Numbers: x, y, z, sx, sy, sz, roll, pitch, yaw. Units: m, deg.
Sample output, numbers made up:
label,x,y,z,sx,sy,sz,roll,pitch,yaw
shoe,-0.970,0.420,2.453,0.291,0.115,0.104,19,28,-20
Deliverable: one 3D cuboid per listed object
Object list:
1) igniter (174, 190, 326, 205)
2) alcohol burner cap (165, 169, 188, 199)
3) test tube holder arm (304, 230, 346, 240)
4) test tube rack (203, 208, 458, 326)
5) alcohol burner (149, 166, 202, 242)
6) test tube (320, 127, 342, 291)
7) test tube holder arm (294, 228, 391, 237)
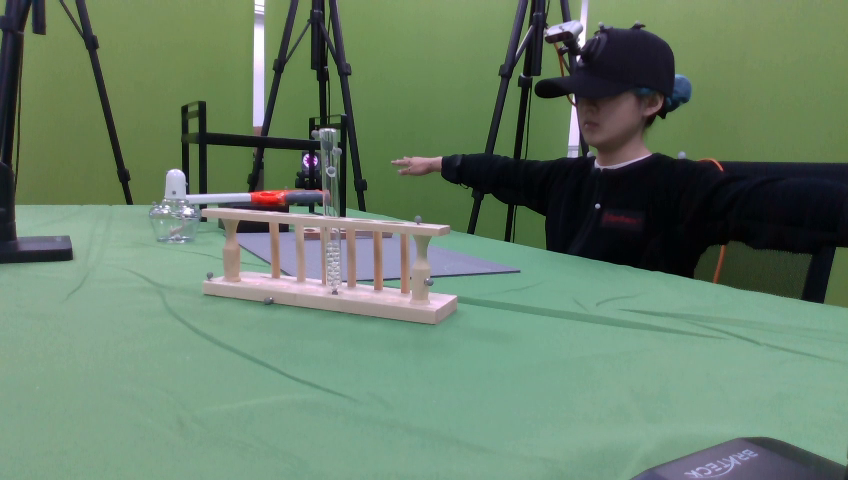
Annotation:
label,x,y,z,sx,sy,sz,roll,pitch,yaw
igniter,-0.317,-0.079,1.132,0.278,0.025,0.057,-4,12,-32
alcohol burner cap,-0.386,-0.087,0.943,0.034,0.048,0.034,3,7,0
test tube holder arm,-0.175,-0.009,1.027,0.088,0.015,0.010,0,43,-31
test tube rack,-0.090,0.019,0.579,0.241,0.085,0.067,5,7,19
alcohol burner,-0.388,-0.056,0.947,0.078,0.119,0.078,5,6,0
test tube,-0.084,-0.027,0.554,0.017,0.150,0.017,-1,6,0
test tube holder arm,-0.138,-0.013,1.054,0.179,0.015,0.013,-1,43,-32
